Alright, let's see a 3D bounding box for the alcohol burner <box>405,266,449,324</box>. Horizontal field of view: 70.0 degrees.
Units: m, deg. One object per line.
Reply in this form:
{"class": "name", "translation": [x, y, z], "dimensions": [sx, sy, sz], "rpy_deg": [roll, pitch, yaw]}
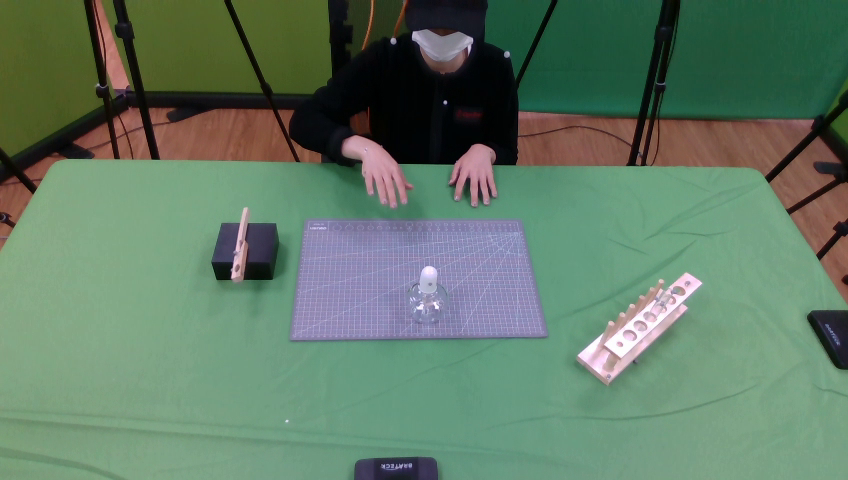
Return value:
{"class": "alcohol burner", "translation": [0.005, 0.089, 1.043], "dimensions": [0.078, 0.120, 0.077], "rpy_deg": [1, 45, -1]}

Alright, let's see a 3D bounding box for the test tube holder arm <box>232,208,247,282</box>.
{"class": "test tube holder arm", "translation": [-0.335, 0.006, 1.102], "dimensions": [0.013, 0.015, 0.177], "rpy_deg": [-9, 46, -2]}

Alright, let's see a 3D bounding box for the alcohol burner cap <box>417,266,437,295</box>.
{"class": "alcohol burner cap", "translation": [0.006, 0.065, 1.017], "dimensions": [0.034, 0.048, 0.033], "rpy_deg": [3, 42, -3]}

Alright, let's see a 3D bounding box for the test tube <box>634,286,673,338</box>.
{"class": "test tube", "translation": [0.374, 0.123, 0.993], "dimensions": [0.017, 0.151, 0.017], "rpy_deg": [2, 52, -2]}

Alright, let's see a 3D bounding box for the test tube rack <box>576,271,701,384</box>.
{"class": "test tube rack", "translation": [0.373, 0.138, 1.047], "dimensions": [0.242, 0.085, 0.066], "rpy_deg": [-31, 56, -29]}

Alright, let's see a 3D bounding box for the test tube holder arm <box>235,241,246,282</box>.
{"class": "test tube holder arm", "translation": [-0.323, 0.037, 1.071], "dimensions": [0.010, 0.015, 0.087], "rpy_deg": [-9, 46, -2]}
